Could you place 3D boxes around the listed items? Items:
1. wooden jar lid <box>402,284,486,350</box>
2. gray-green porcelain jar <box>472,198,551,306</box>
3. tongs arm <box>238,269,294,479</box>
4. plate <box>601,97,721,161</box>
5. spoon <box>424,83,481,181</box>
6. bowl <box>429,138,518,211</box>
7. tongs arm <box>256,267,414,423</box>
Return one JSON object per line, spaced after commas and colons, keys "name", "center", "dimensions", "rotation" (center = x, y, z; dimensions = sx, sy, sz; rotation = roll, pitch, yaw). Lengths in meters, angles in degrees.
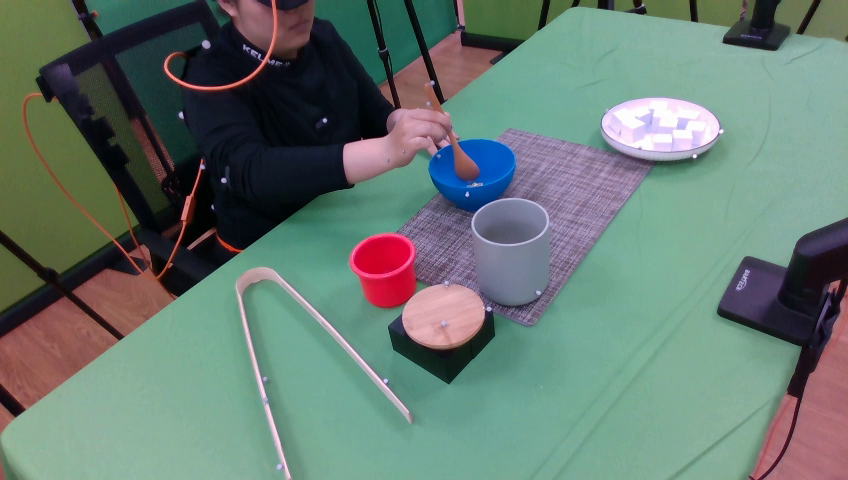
{"name": "wooden jar lid", "center": [0.026, 0.101, 0.786], "dimensions": [0.108, 0.021, 0.108], "rotation": [-5, 39, 4]}
{"name": "gray-green porcelain jar", "center": [0.125, 0.021, 0.850], "dimensions": [0.106, 0.127, 0.105], "rotation": [-6, 40, 5]}
{"name": "tongs arm", "center": [-0.208, 0.163, 0.824], "dimensions": [0.051, 0.026, 0.381], "rotation": [-22, 40, -15]}
{"name": "plate", "center": [0.436, -0.203, 1.126], "dimensions": [0.209, 0.038, 0.208], "rotation": [-5, 39, 5]}
{"name": "spoon", "center": [0.042, -0.167, 0.962], "dimensions": [0.041, 0.195, 0.021], "rotation": [-16, 35, 21]}
{"name": "bowl", "center": [0.087, -0.104, 1.043], "dimensions": [0.151, 0.077, 0.150], "rotation": [-5, 40, 5]}
{"name": "tongs arm", "center": [-0.137, 0.132, 0.853], "dimensions": [0.028, 0.028, 0.384], "rotation": [-34, 45, -23]}
